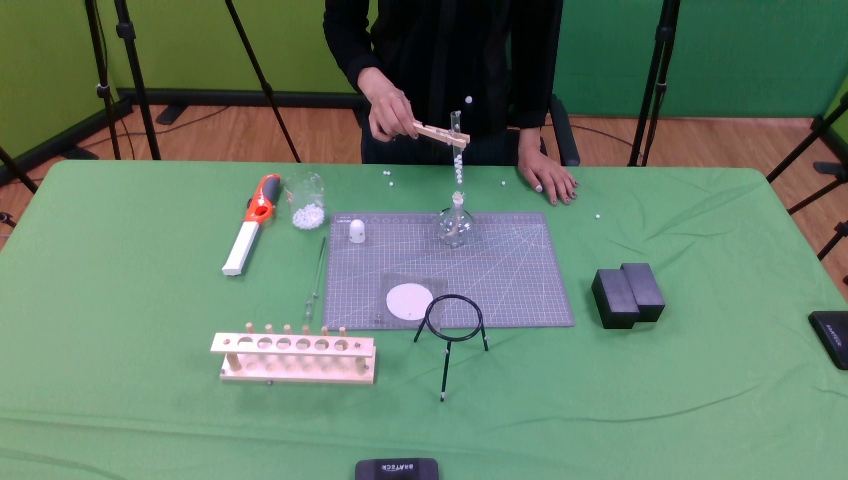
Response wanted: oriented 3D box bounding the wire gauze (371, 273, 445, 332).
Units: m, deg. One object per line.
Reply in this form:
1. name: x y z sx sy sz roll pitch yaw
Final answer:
1. wire gauze: -0.028 0.108 1.100 0.125 0.011 0.121 8 45 4

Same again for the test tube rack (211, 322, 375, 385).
1. test tube rack: -0.202 0.176 0.969 0.242 0.085 0.066 3 46 -2

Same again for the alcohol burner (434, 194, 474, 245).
1. alcohol burner: 0.061 -0.046 1.183 0.078 0.119 0.077 3 47 -3

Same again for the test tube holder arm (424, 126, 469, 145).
1. test tube holder arm: 0.038 -0.186 1.072 0.087 0.015 0.010 16 44 19

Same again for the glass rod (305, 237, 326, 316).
1. glass rod: -0.202 0.063 1.131 0.008 0.008 0.198 4 44 0

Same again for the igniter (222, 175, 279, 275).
1. igniter: -0.341 -0.039 1.207 0.057 0.025 0.275 -1 45 9

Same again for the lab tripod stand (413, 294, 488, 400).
1. lab tripod stand: 0.044 0.159 0.972 0.148 0.132 0.147 2 44 -2

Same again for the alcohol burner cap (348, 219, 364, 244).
1. alcohol burner cap: -0.134 -0.019 1.190 0.034 0.048 0.033 2 45 -2

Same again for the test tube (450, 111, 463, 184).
1. test tube: 0.058 -0.161 1.076 0.017 0.151 0.017 -4 43 4

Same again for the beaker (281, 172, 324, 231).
1. beaker: -0.234 -0.073 1.199 0.084 0.101 0.074 24 50 17

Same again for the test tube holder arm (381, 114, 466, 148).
1. test tube holder arm: -0.004 -0.197 1.086 0.178 0.015 0.013 22 45 24
